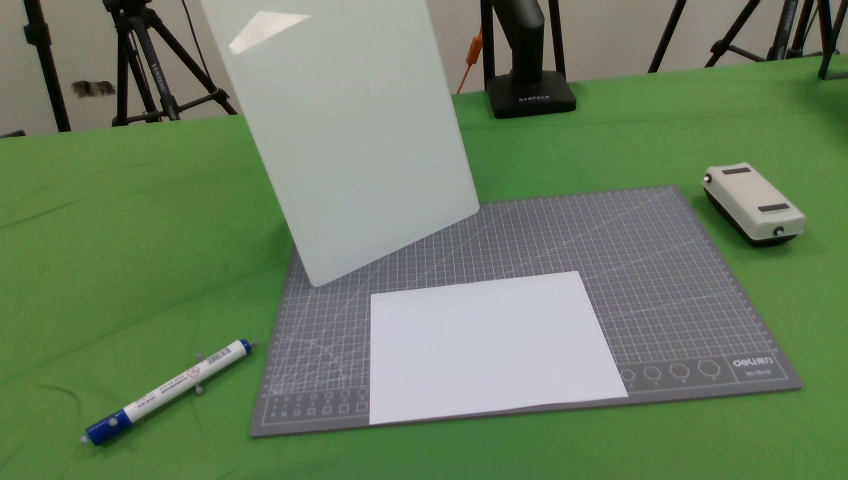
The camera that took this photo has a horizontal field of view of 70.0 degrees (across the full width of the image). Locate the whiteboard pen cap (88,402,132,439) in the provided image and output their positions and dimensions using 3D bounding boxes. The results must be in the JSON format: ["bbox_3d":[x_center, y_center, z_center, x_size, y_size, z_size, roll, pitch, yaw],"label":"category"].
[{"bbox_3d":[-0.259,0.149,0.503,0.033,0.018,0.018,-32,45,-30],"label":"whiteboard pen cap"}]

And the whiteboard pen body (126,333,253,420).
[{"bbox_3d":[-0.215,0.124,0.531,0.141,0.017,0.017,-32,45,-30],"label":"whiteboard pen body"}]

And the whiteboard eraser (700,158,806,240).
[{"bbox_3d":[0.347,-0.044,0.646,0.055,0.042,0.111,-11,39,-2],"label":"whiteboard eraser"}]

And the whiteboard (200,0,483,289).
[{"bbox_3d":[-0.094,-0.142,0.666,0.217,0.307,0.142,-25,22,-21],"label":"whiteboard"}]
